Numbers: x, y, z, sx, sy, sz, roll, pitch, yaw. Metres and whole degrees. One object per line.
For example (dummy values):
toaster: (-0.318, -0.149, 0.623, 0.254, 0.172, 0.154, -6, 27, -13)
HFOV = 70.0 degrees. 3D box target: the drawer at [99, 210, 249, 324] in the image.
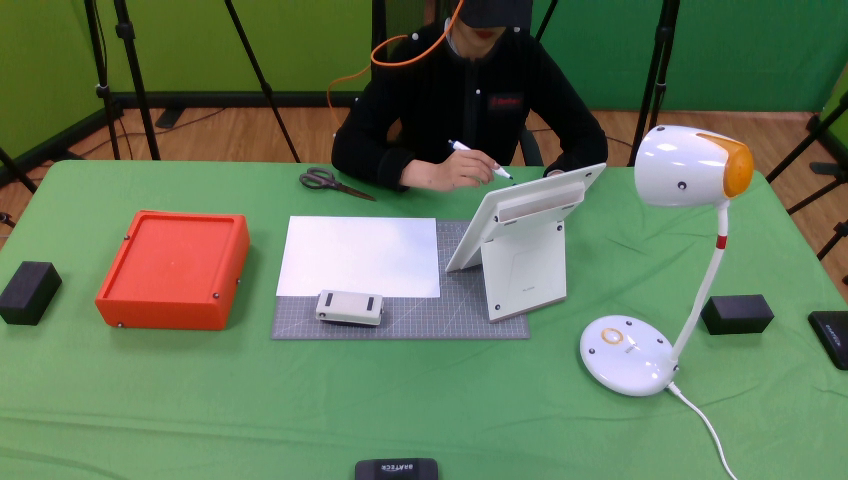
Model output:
drawer: (-0.435, 0.044, 1.081, 0.194, 0.073, 0.210, 3, 47, -2)

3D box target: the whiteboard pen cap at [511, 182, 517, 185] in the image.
whiteboard pen cap: (0.183, -0.098, 1.173, 0.033, 0.018, 0.018, 37, 47, -13)

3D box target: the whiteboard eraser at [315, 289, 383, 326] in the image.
whiteboard eraser: (-0.130, 0.119, 1.054, 0.113, 0.042, 0.055, 6, 47, 1)

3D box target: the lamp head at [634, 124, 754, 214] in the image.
lamp head: (0.351, -0.089, 0.776, 0.112, 0.113, 0.122, -30, 30, -28)

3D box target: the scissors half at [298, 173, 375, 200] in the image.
scissors half: (-0.188, -0.110, 1.296, 0.175, 0.013, 0.040, 15, 42, 5)

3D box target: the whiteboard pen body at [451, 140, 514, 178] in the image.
whiteboard pen body: (0.113, -0.155, 1.175, 0.140, 0.017, 0.017, 32, 52, 11)

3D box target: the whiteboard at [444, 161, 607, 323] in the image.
whiteboard: (0.186, 0.025, 1.029, 0.217, 0.306, 0.143, -14, 68, -18)

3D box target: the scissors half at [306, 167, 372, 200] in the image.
scissors half: (-0.180, -0.121, 1.311, 0.174, 0.013, 0.040, 27, 39, 18)

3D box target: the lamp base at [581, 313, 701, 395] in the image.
lamp base: (0.361, 0.144, 0.973, 0.178, 0.181, 0.160, 34, 53, 23)

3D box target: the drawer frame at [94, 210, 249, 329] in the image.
drawer frame: (-0.435, 0.048, 1.076, 0.202, 0.083, 0.212, 2, 47, -3)
